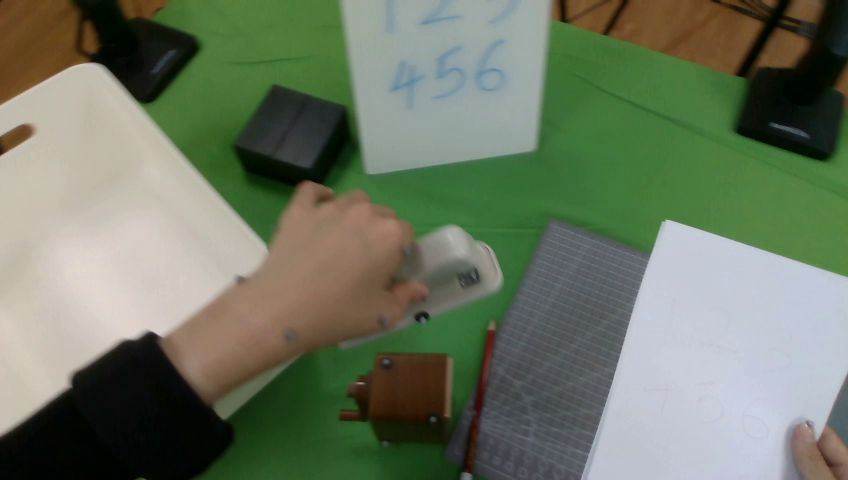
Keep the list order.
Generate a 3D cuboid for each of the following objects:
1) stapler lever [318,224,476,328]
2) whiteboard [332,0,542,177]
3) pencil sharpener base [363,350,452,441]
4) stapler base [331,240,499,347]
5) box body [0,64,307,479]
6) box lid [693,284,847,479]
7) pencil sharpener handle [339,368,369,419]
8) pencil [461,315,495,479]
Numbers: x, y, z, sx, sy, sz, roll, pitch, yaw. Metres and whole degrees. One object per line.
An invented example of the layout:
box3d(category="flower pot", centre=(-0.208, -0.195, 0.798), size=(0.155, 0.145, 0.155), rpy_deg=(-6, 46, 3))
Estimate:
box3d(category="stapler lever", centre=(-0.021, 0.024, 0.409), size=(0.118, 0.040, 0.026), rpy_deg=(-23, 59, 8))
box3d(category="whiteboard", centre=(0.010, -0.252, 0.699), size=(0.217, 0.308, 0.142), rpy_deg=(-9, 43, -4))
box3d(category="pencil sharpener base", centre=(-0.014, 0.147, 0.566), size=(0.077, 0.108, 0.061), rpy_deg=(2, 62, 2))
box3d(category="stapler base", centre=(-0.013, 0.034, 0.431), size=(0.130, 0.025, 0.041), rpy_deg=(-22, 60, 7))
box3d(category="box body", centre=(-0.318, 0.036, 0.595), size=(0.254, 0.161, 0.361), rpy_deg=(-41, 69, -19))
box3d(category="box lid", centre=(0.398, 0.233, 0.573), size=(0.262, 0.015, 0.369), rpy_deg=(22, 65, 10))
box3d(category="pencil sharpener handle", centre=(-0.065, 0.144, 0.554), size=(0.030, 0.068, 0.035), rpy_deg=(2, 45, 2))
box3d(category="pencil", centre=(0.056, 0.164, 0.611), size=(0.012, 0.012, 0.192), rpy_deg=(10, 62, 6))
